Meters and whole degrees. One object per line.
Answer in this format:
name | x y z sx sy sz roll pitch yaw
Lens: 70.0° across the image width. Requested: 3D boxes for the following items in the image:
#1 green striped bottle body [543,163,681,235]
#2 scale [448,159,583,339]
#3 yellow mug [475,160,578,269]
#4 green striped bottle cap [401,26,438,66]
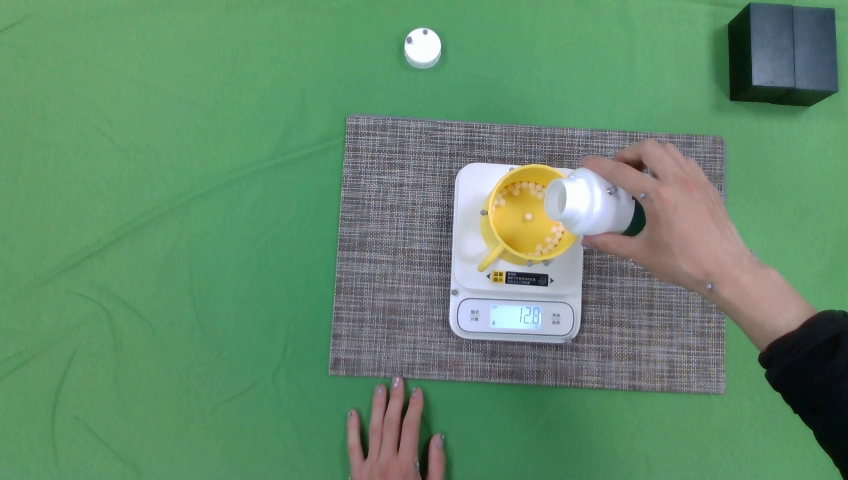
green striped bottle body | 0.172 -0.038 0.564 0.120 0.063 0.063 2 83 -21
scale | 0.105 0.010 0.686 0.149 0.031 0.200 3 84 -1
yellow mug | 0.100 -0.017 0.642 0.100 0.064 0.131 43 85 3
green striped bottle cap | -0.005 -0.232 0.724 0.044 0.020 0.044 0 86 -1
